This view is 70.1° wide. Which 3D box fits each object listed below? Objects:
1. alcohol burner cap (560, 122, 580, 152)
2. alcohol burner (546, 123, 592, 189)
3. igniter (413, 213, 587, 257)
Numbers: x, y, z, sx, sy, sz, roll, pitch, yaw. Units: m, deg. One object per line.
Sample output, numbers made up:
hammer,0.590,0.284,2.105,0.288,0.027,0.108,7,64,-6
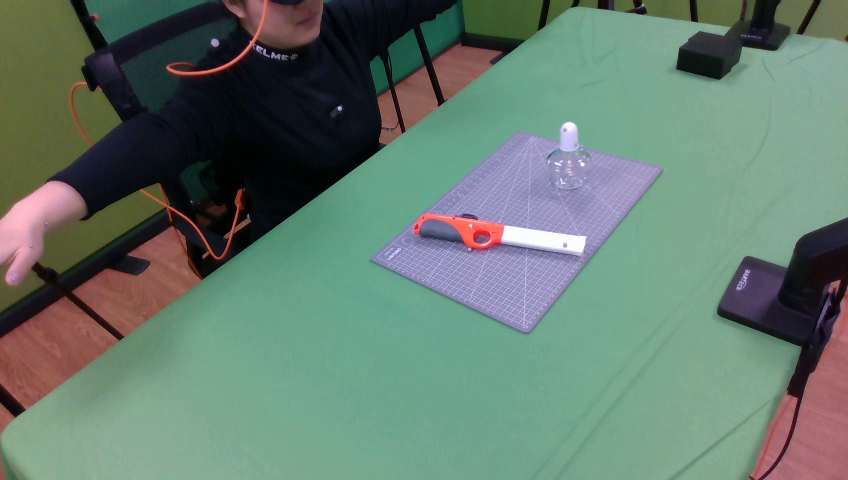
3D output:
alcohol burner cap,0.244,-0.174,1.010,0.034,0.048,0.033,-8,40,7
alcohol burner,0.248,-0.147,1.034,0.078,0.120,0.077,-7,41,6
igniter,0.116,-0.009,0.959,0.275,0.025,0.057,8,65,17
